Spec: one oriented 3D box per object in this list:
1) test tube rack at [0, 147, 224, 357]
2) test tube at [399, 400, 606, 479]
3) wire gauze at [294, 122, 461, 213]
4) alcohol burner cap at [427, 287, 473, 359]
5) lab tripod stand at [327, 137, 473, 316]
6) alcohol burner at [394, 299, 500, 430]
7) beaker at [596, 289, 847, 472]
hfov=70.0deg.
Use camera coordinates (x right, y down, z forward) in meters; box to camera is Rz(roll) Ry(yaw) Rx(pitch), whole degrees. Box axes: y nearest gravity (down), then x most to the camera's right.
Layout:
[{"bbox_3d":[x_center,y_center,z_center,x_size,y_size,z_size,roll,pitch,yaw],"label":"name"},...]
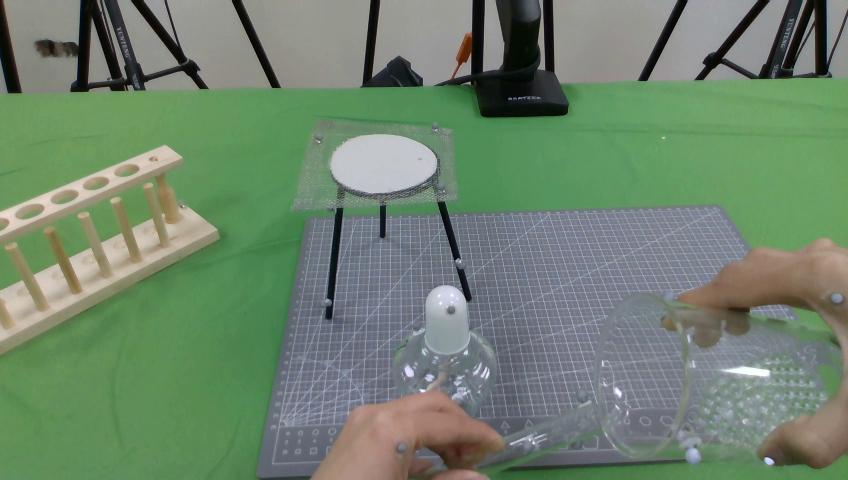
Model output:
[{"bbox_3d":[-0.313,0.009,0.547,0.066,0.086,0.242,31,49,33],"label":"test tube rack"},{"bbox_3d":[0.031,0.123,0.334,0.150,0.017,0.017,-32,32,24],"label":"test tube"},{"bbox_3d":[-0.033,-0.061,0.482,0.121,0.011,0.124,1,40,0],"label":"wire gauze"},{"bbox_3d":[0.017,0.053,0.408,0.034,0.048,0.033,-2,39,2],"label":"alcohol burner cap"},{"bbox_3d":[-0.025,-0.011,0.527,0.148,0.132,0.147,1,38,-1],"label":"lab tripod stand"},{"bbox_3d":[0.017,0.081,0.431,0.078,0.120,0.077,0,41,0],"label":"alcohol burner"},{"bbox_3d":[0.143,0.071,0.287,0.100,0.084,0.073,9,47,-11],"label":"beaker"}]
